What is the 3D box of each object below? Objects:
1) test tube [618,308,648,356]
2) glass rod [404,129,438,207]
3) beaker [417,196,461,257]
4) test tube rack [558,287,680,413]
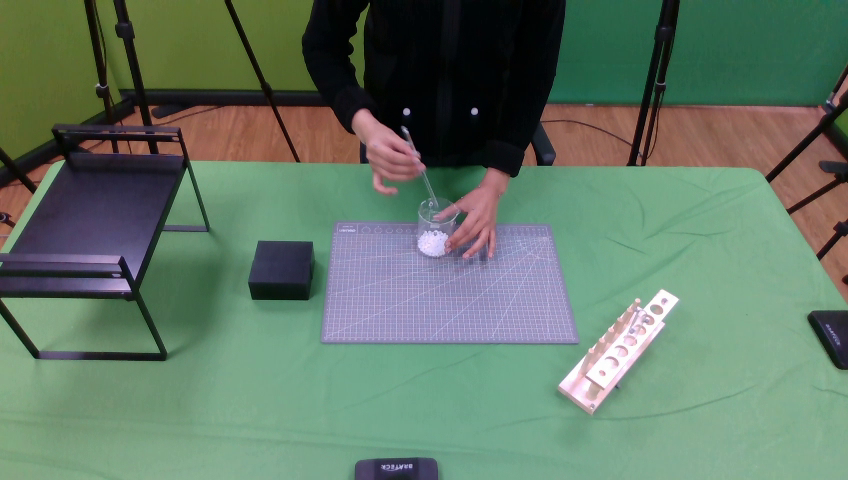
[{"bbox_3d":[0.326,0.155,0.955,0.017,0.151,0.017,-1,50,1],"label":"test tube"},{"bbox_3d":[-0.003,-0.119,1.047,0.008,0.201,0.008,-9,53,12],"label":"glass rod"},{"bbox_3d":[0.025,-0.023,1.160,0.084,0.101,0.073,-7,48,-11],"label":"beaker"},{"bbox_3d":[0.326,0.170,1.009,0.066,0.085,0.242,36,54,26],"label":"test tube rack"}]
